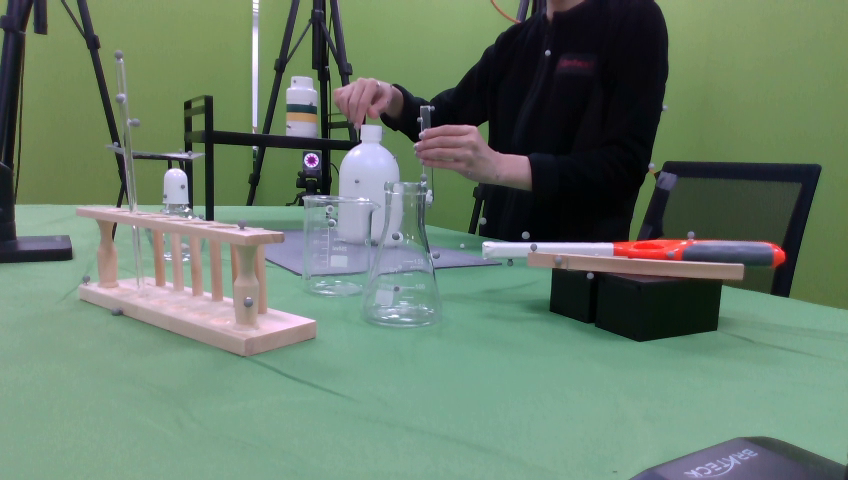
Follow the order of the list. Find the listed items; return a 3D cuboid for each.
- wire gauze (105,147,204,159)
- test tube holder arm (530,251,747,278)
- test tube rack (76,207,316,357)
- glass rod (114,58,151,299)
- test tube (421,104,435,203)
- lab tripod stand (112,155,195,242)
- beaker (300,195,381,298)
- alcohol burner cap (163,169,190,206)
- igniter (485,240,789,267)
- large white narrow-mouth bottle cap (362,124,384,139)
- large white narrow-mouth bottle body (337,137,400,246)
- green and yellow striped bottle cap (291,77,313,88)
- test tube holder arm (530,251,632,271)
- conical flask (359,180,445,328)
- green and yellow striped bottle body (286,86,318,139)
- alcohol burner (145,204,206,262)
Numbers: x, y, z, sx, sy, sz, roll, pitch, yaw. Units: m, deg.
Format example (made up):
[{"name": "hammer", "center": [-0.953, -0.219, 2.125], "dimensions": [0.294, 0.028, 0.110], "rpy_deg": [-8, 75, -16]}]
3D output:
[{"name": "wire gauze", "center": [-0.407, -0.131, 0.928], "dimensions": [0.125, 0.011, 0.121], "rpy_deg": [2, 6, -11]}, {"name": "test tube holder arm", "center": [0.182, 0.022, 0.523], "dimensions": [0.178, 0.015, 0.013], "rpy_deg": [3, 7, 12]}, {"name": "test tube rack", "center": [-0.196, 0.023, 0.500], "dimensions": [0.241, 0.085, 0.067], "rpy_deg": [8, 9, 36]}, {"name": "glass rod", "center": [-0.236, -0.044, 0.491], "dimensions": [0.008, 0.199, 0.008], "rpy_deg": [0, 15, 0]}, {"name": "test tube", "center": [0.006, -0.130, 0.921], "dimensions": [0.017, 0.150, 0.017], "rpy_deg": [-3, 11, 1]}, {"name": "lab tripod stand", "center": [-0.405, -0.064, 0.931], "dimensions": [0.148, 0.131, 0.148], "rpy_deg": [1, 7, 0]}, {"name": "beaker", "center": [-0.087, 0.006, 0.626], "dimensions": [0.084, 0.100, 0.074], "rpy_deg": [1, 8, -17]}, {"name": "alcohol burner cap", "center": [-0.320, -0.067, 0.782], "dimensions": [0.034, 0.048, 0.034], "rpy_deg": [1, 7, 0]}, {"name": "igniter", "center": [0.197, 0.012, 0.585], "dimensions": [0.276, 0.025, 0.057], "rpy_deg": [1, 5, 12]}, {"name": "large white narrow-mouth bottle cap", "center": [-0.084, -0.178, 0.995], "dimensions": [0.038, 0.024, 0.037], "rpy_deg": [4, 7, 0]}, {"name": "large white narrow-mouth bottle body", "center": [-0.091, -0.092, 1.006], "dimensions": [0.102, 0.194, 0.102], "rpy_deg": [4, 7, 0]}, {"name": "green and yellow striped bottle cap", "center": [-0.250, -0.321, 1.238], "dimensions": [0.045, 0.020, 0.045], "rpy_deg": [3, 6, 0]}, {"name": "test tube holder arm", "center": [0.139, 0.019, 0.538], "dimensions": [0.087, 0.015, 0.010], "rpy_deg": [3, 6, 13]}, {"name": "conical flask", "center": [-0.017, 0.010, 0.522], "dimensions": [0.075, 0.122, 0.075], "rpy_deg": [2, 7, 0]}, {"name": "green and yellow striped bottle body", "center": [-0.251, -0.270, 1.245], "dimensions": [0.063, 0.119, 0.063], "rpy_deg": [2, 7, 0]}, {"name": "alcohol burner", "center": [-0.321, -0.032, 0.788], "dimensions": [0.078, 0.119, 0.078], "rpy_deg": [0, 7, 0]}]
